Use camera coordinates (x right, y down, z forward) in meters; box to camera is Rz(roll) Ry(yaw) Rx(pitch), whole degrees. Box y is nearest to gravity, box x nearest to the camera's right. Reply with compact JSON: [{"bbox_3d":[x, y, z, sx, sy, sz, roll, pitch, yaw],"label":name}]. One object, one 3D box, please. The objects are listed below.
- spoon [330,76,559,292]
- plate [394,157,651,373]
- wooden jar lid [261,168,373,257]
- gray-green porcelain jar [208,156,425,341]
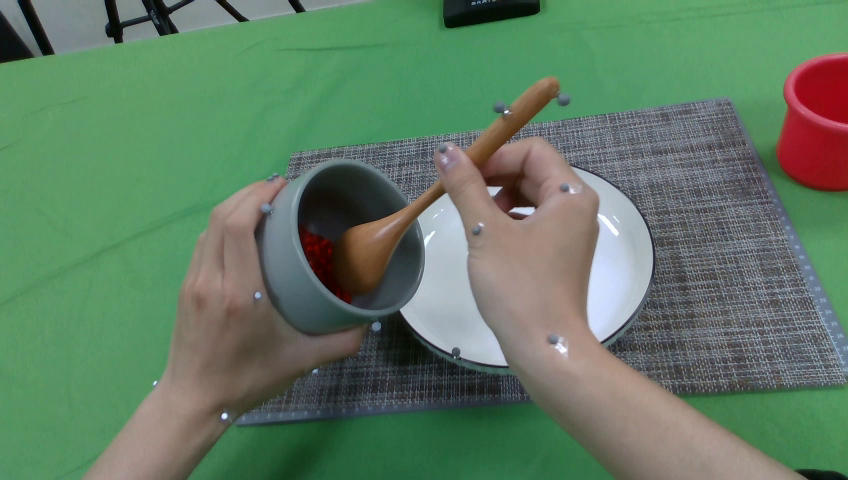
[{"bbox_3d":[0.002,-0.027,0.349,0.194,0.022,0.041,-40,76,30],"label":"spoon"},{"bbox_3d":[0.072,0.018,0.488,0.207,0.039,0.205,-7,50,8],"label":"plate"},{"bbox_3d":[-0.101,-0.025,0.578,0.108,0.021,0.107,-6,49,8],"label":"wooden jar lid"},{"bbox_3d":[-0.080,0.013,0.422,0.126,0.107,0.105,-21,39,42],"label":"gray-green porcelain jar"}]
